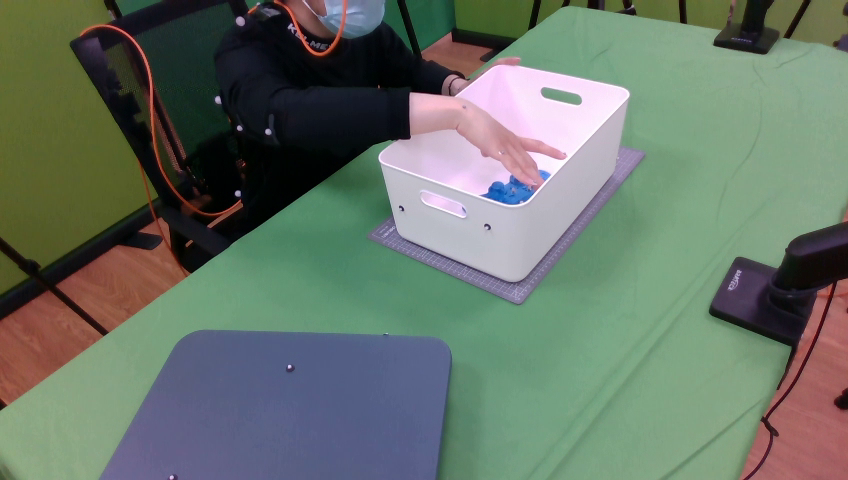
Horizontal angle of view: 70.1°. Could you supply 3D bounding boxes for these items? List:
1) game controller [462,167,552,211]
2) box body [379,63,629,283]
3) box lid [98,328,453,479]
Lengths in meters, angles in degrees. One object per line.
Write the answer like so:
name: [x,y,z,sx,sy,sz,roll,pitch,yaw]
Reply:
game controller: [0.147,-0.079,1.007,0.156,0.052,0.096,-30,51,-23]
box body: [0.137,-0.122,0.978,0.252,0.161,0.365,23,49,29]
box lid: [-0.156,0.209,0.689,0.371,0.015,0.262,1,41,9]
